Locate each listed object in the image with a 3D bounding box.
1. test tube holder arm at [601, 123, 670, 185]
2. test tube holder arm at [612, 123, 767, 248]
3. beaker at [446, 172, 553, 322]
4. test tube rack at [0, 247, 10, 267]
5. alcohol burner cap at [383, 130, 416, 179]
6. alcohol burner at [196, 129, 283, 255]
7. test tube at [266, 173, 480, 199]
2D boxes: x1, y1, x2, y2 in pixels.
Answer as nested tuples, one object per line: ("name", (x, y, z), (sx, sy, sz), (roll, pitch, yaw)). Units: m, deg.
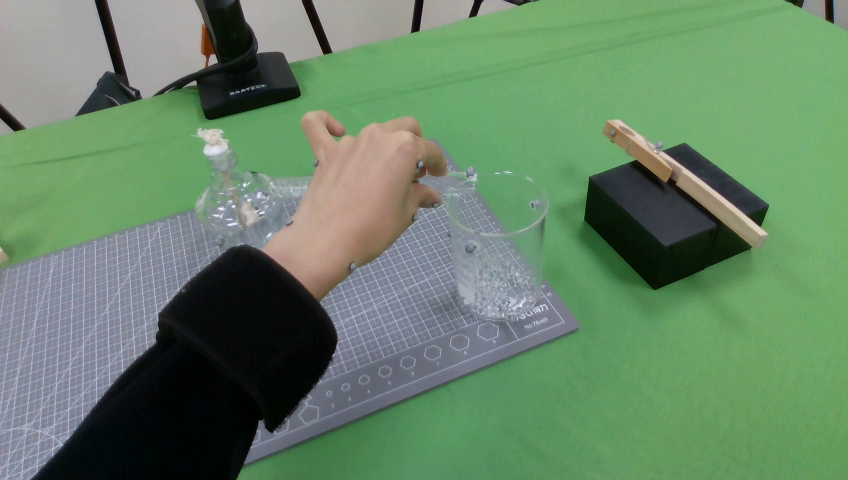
("test tube holder arm", (0.187, -0.077, 0.533), (0.010, 0.015, 0.087), (-15, 43, -21))
("test tube holder arm", (0.212, -0.052, 0.505), (0.013, 0.015, 0.176), (-15, 43, -22))
("beaker", (0.055, 0.008, 0.468), (0.083, 0.101, 0.074), (26, 52, 31))
("test tube rack", (-0.511, 0.040, 0.517), (0.066, 0.086, 0.242), (32, 55, 33))
("alcohol burner cap", (-0.027, -0.091, 0.625), (0.034, 0.048, 0.033), (-3, 43, 3))
("alcohol burner", (-0.169, -0.045, 0.541), (0.078, 0.120, 0.077), (-5, 42, 5))
("test tube", (-0.036, -0.038, 0.425), (0.150, 0.017, 0.017), (-2, 43, -1))
